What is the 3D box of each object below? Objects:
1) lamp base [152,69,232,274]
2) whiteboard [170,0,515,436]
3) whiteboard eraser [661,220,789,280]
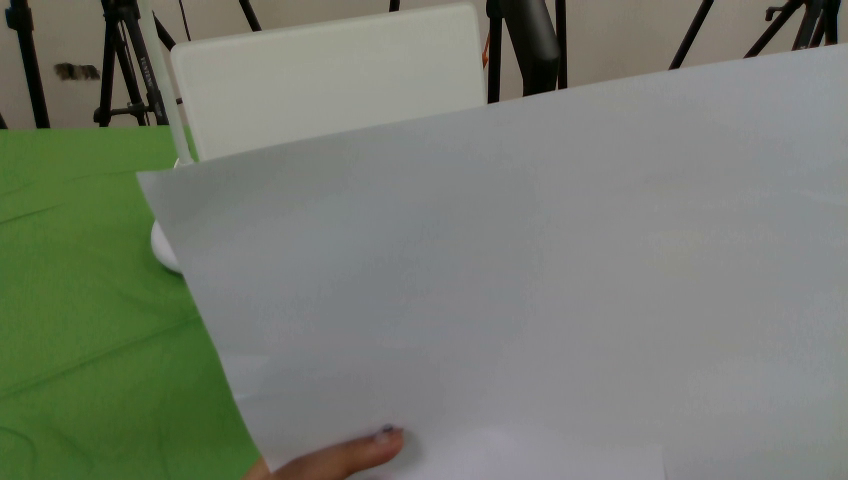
[{"bbox_3d":[-0.236,-0.081,0.648,0.177,0.182,0.160,26,46,33],"label":"lamp base"},{"bbox_3d":[-0.062,-0.029,0.527,0.218,0.307,0.142,-15,22,-16],"label":"whiteboard"},{"bbox_3d":[0.312,0.012,0.630,0.113,0.042,0.055,-7,40,-8],"label":"whiteboard eraser"}]
